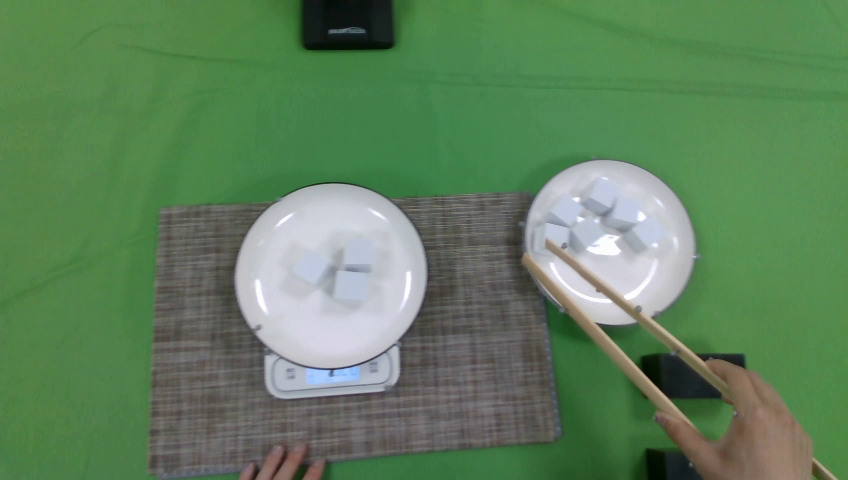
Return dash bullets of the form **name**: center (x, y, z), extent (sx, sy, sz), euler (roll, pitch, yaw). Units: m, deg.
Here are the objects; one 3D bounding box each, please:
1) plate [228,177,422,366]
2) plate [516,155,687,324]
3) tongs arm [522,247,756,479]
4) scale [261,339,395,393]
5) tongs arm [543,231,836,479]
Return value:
- **plate**: center (-0.106, 0.034, 0.670), extent (0.209, 0.038, 0.208), euler (1, 77, -5)
- **plate**: center (0.212, 0.000, 0.738), extent (0.208, 0.039, 0.206), euler (1, 77, -4)
- **tongs arm**: center (0.228, 0.141, 0.562), extent (0.028, 0.028, 0.384), euler (-35, 67, -19)
- **scale**: center (-0.112, 0.070, 0.695), extent (0.149, 0.031, 0.200), euler (-2, 77, -5)
- **tongs arm**: center (0.245, 0.128, 0.567), extent (0.050, 0.027, 0.382), euler (-41, 69, -18)
